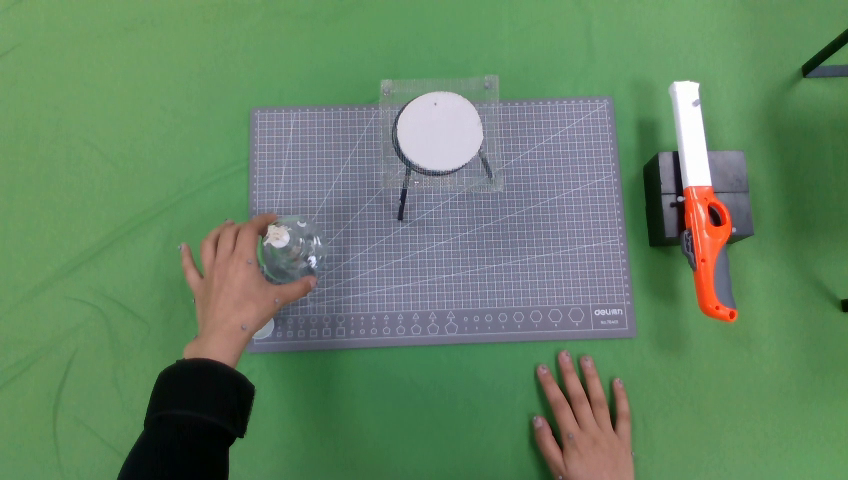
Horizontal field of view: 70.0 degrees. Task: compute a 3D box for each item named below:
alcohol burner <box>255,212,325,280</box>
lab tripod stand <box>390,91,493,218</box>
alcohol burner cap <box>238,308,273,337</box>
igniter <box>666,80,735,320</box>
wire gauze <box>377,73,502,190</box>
[{"bbox_3d":[-0.150,0.004,0.660,0.078,0.119,0.077,0,81,0],"label":"alcohol burner"},{"bbox_3d":[0.008,-0.099,0.672,0.148,0.132,0.147,0,78,1],"label":"lab tripod stand"},{"bbox_3d":[-0.192,0.091,0.679,0.034,0.048,0.033,0,76,1],"label":"alcohol burner cap"},{"bbox_3d":[0.305,-0.049,0.674,0.057,0.025,0.275,-2,76,-4],"label":"igniter"},{"bbox_3d":[0.015,-0.109,0.605,0.125,0.011,0.121,0,79,0],"label":"wire gauze"}]
